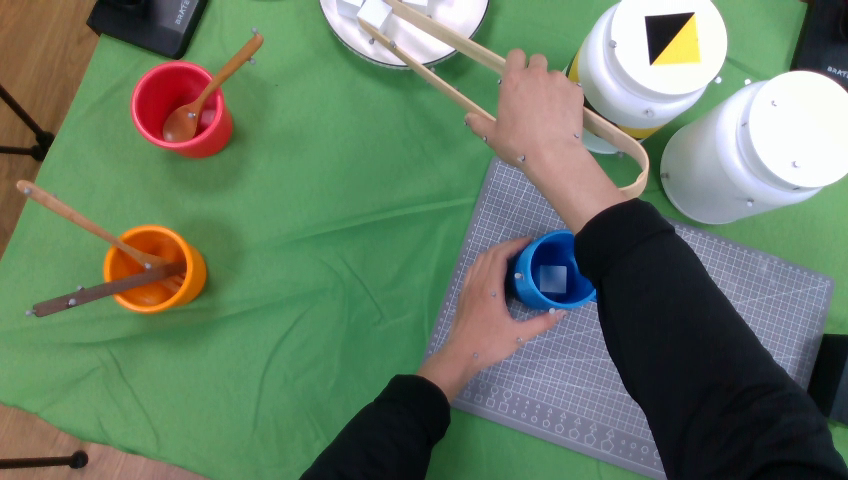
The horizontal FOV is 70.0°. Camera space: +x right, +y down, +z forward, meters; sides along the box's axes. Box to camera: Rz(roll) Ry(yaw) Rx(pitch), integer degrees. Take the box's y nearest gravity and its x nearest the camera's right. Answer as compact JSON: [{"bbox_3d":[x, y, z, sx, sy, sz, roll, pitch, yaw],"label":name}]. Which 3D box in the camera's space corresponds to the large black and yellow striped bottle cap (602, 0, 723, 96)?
[{"bbox_3d":[0.230,-0.196,0.582,0.115,0.019,0.114,0,85,-5],"label":"large black and yellow striped bottle cap"}]

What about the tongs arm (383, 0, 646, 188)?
[{"bbox_3d":[0.076,-0.172,0.628,0.028,0.028,0.384,-42,61,-12],"label":"tongs arm"}]

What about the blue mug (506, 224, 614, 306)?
[{"bbox_3d":[0.155,0.038,0.674,0.116,0.106,0.082,26,82,-1],"label":"blue mug"}]

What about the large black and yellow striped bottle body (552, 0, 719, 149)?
[{"bbox_3d":[0.225,-0.185,0.665,0.131,0.184,0.130,0,83,-3],"label":"large black and yellow striped bottle body"}]

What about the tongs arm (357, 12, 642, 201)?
[{"bbox_3d":[0.058,-0.154,0.624,0.051,0.027,0.381,-40,61,-7],"label":"tongs arm"}]

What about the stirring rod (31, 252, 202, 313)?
[{"bbox_3d":[-0.311,0.041,0.629,0.176,0.006,0.014,-22,88,-48],"label":"stirring rod"}]

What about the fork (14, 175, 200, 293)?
[{"bbox_3d":[-0.320,-0.002,0.627,0.028,0.018,0.209,-53,132,-8],"label":"fork"}]

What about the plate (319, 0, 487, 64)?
[{"bbox_3d":[-0.026,-0.310,0.735,0.208,0.039,0.207,0,84,-4],"label":"plate"}]

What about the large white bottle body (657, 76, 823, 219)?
[{"bbox_3d":[0.354,-0.099,0.664,0.131,0.185,0.130,0,84,-3],"label":"large white bottle body"}]

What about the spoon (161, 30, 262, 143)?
[{"bbox_3d":[-0.232,-0.163,0.653,0.193,0.022,0.041,-30,81,37],"label":"spoon"}]

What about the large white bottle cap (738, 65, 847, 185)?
[{"bbox_3d":[0.359,-0.110,0.580,0.115,0.018,0.114,1,84,-4],"label":"large white bottle cap"}]
